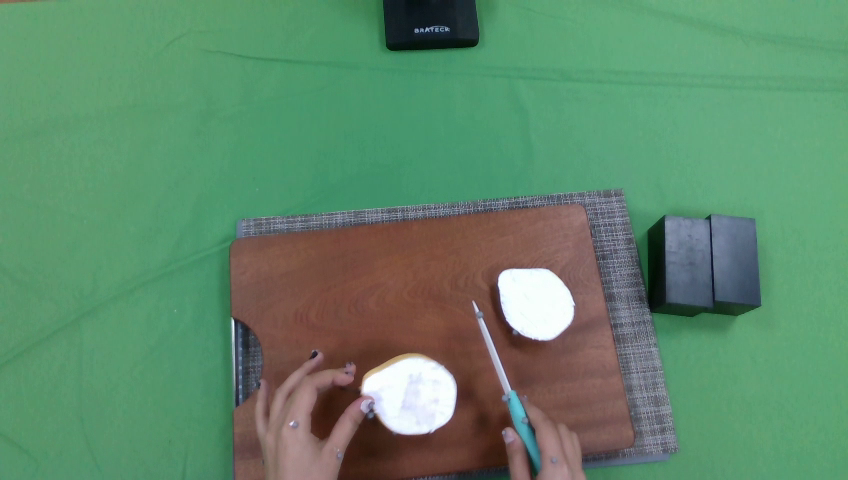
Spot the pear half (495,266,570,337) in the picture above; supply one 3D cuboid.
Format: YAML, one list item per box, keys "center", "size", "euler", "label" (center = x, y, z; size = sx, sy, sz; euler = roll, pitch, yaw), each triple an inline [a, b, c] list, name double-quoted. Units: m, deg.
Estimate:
- center: [0.113, 0.063, 0.639]
  size: [0.070, 0.031, 0.087]
  euler: [-48, 63, 1]
  label: "pear half"

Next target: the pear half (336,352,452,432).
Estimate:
- center: [-0.031, 0.145, 0.593]
  size: [0.110, 0.056, 0.076]
  euler: [12, 83, -9]
  label: "pear half"

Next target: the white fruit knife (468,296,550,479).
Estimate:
- center: [0.080, 0.151, 0.584]
  size: [0.016, 0.027, 0.206]
  euler: [-19, 82, -16]
  label: "white fruit knife"
